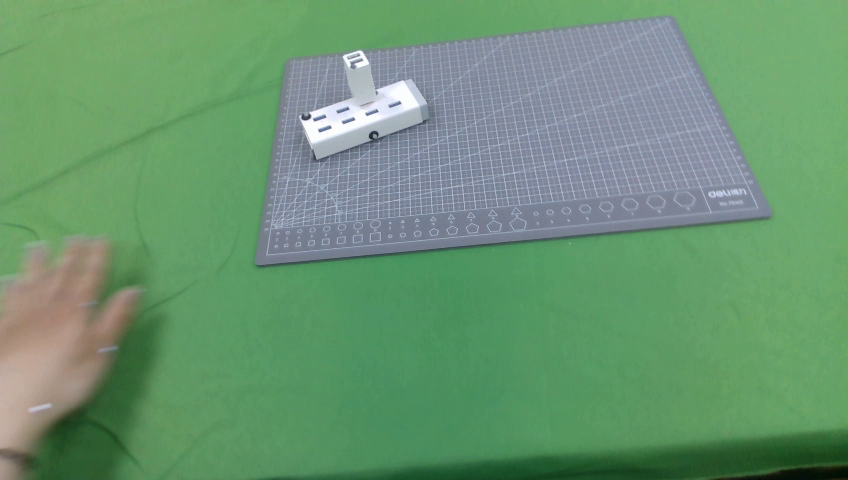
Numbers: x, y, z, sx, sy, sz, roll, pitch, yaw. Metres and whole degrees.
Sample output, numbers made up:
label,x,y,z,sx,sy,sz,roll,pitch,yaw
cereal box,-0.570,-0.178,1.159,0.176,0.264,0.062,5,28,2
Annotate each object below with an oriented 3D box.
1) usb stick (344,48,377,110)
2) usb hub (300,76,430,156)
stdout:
label,x,y,z,sx,sy,sz,roll,pitch,yaw
usb stick,-0.062,-0.159,0.607,0.021,0.060,0.027,-22,52,-10
usb hub,-0.060,-0.128,0.621,0.125,0.025,0.049,-21,54,-9
